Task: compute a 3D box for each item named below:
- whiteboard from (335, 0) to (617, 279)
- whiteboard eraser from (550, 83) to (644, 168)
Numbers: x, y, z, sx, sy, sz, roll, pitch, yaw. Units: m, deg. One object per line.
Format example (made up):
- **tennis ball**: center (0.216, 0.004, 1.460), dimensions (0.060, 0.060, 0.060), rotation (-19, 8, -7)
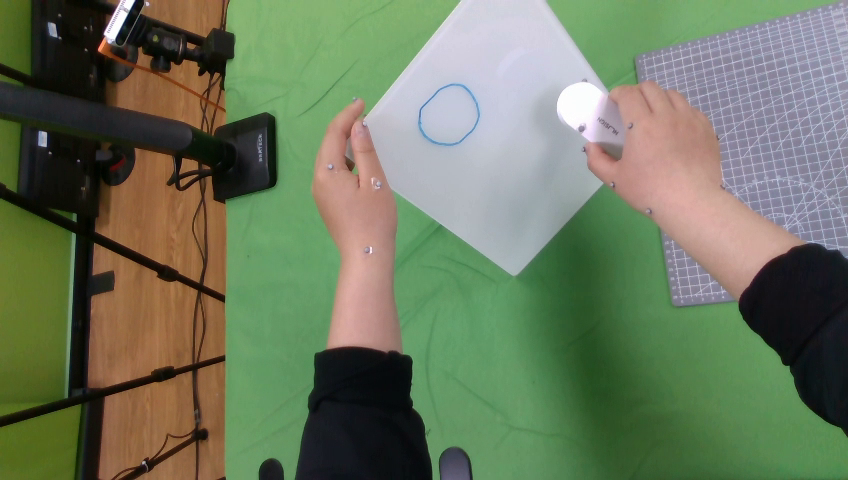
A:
- **whiteboard**: center (0.054, -0.130, 0.658), dimensions (0.217, 0.309, 0.142), rotation (-48, 45, 9)
- **whiteboard eraser**: center (0.159, -0.104, 0.556), dimensions (0.102, 0.018, 0.041), rotation (33, 93, -15)
